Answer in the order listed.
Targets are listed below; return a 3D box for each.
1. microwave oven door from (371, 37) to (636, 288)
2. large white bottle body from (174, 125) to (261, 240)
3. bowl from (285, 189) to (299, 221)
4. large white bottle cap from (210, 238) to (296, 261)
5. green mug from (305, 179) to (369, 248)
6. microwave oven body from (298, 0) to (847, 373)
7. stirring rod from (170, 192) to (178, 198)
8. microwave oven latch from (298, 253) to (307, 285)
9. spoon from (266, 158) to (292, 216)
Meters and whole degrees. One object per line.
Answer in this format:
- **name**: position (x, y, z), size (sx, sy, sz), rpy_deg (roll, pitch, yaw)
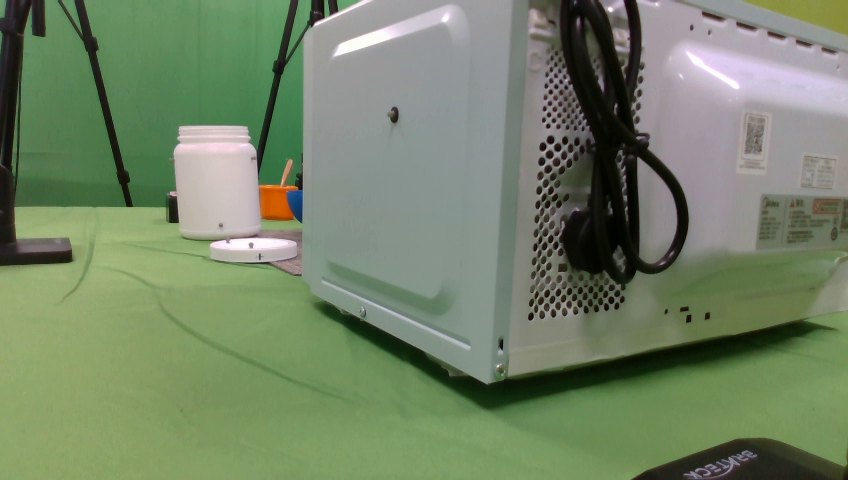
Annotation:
- **microwave oven door**: position (0.109, -0.080, 0.686), size (0.358, 0.243, 0.039), rpy_deg (-2, 9, -33)
- **large white bottle body**: position (-0.349, -0.100, 1.024), size (0.131, 0.184, 0.130), rpy_deg (-1, 9, 0)
- **bowl**: position (-0.180, -0.051, 1.113), size (0.151, 0.077, 0.151), rpy_deg (3, 8, 0)
- **large white bottle cap**: position (-0.236, 0.012, 0.839), size (0.115, 0.018, 0.115), rpy_deg (1, 7, 0)
- **green mug**: position (-0.133, -0.044, 0.977), size (0.092, 0.105, 0.126), rpy_deg (6, 8, 32)
- **microwave oven body**: position (0.151, -0.055, 0.542), size (0.444, 0.260, 0.324), rpy_deg (-2, 7, -33)
- **stirring rod**: position (-0.465, -0.098, 1.283), size (0.014, 0.006, 0.177), rpy_deg (42, 21, 17)
- **microwave oven latch**: position (-0.081, 0.027, 0.582), size (0.079, 0.029, 0.030), rpy_deg (-1, 7, -32)
- **spoon**: position (-0.334, -0.127, 1.424), size (0.041, 0.193, 0.022), rpy_deg (0, -37, 7)
